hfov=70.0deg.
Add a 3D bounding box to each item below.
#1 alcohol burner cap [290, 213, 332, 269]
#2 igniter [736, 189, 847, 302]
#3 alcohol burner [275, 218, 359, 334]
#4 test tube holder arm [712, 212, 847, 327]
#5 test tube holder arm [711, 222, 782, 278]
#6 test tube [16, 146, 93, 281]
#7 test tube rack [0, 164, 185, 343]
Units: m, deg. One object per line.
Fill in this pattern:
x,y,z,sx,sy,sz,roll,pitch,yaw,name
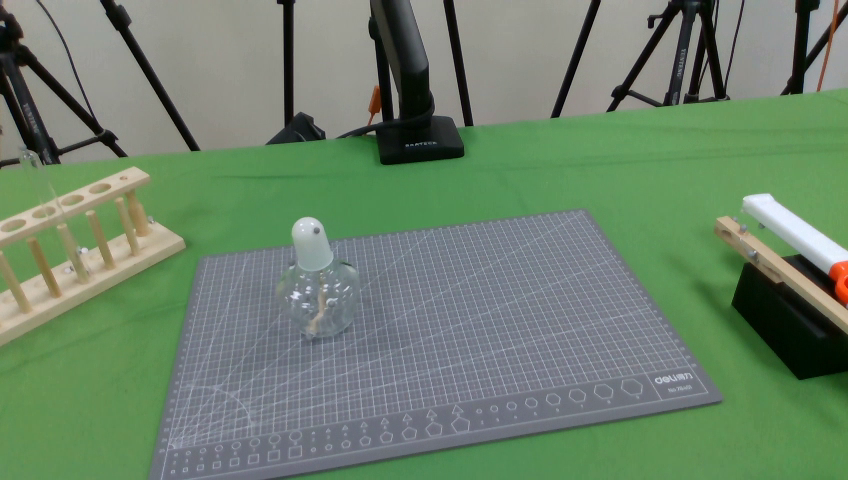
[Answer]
-0.100,-0.002,0.528,0.034,0.048,0.033,-3,40,3,alcohol burner cap
0.365,0.027,0.520,0.057,0.025,0.273,-9,33,-7,igniter
-0.099,0.027,0.549,0.078,0.120,0.077,0,37,1,alcohol burner
0.312,0.025,0.523,0.015,0.013,0.176,-17,36,-8,test tube holder arm
0.301,0.006,0.563,0.015,0.010,0.087,-17,35,-8,test tube holder arm
-0.353,-0.021,0.583,0.017,0.151,0.017,-2,37,2,test tube
-0.376,0.016,0.610,0.066,0.086,0.242,25,44,32,test tube rack
